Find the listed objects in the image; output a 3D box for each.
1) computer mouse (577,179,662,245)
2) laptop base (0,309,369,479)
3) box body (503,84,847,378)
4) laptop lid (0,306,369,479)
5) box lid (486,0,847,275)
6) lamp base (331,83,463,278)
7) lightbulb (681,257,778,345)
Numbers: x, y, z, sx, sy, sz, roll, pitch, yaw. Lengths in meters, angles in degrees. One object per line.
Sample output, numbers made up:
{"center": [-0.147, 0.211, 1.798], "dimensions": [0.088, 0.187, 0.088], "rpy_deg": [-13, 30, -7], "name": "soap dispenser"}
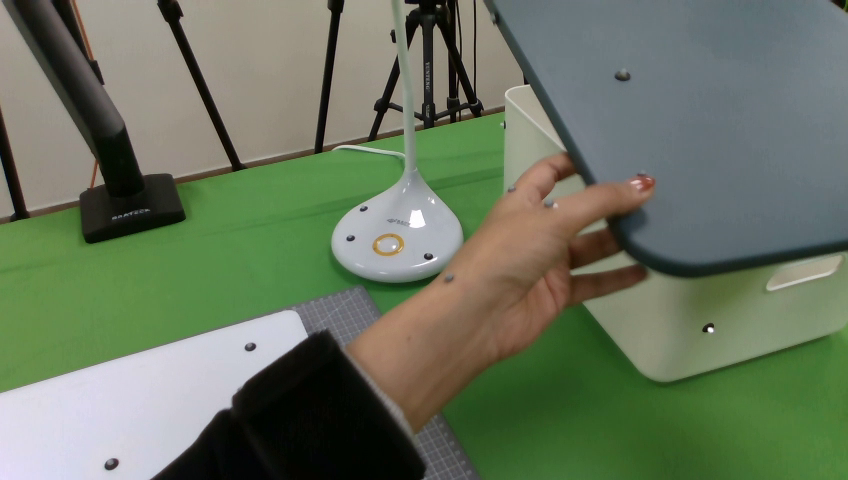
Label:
{"center": [0.243, -0.040, 0.755], "dimensions": [0.063, 0.041, 0.116], "rpy_deg": [-10, 42, -17], "name": "computer mouse"}
{"center": [-0.243, 0.182, 0.484], "dimensions": [0.355, 0.023, 0.232], "rpy_deg": [-15, 43, -20], "name": "laptop base"}
{"center": [0.264, -0.043, 0.667], "dimensions": [0.255, 0.162, 0.359], "rpy_deg": [-11, 38, -15], "name": "box body"}
{"center": [-0.242, 0.175, 0.475], "dimensions": [0.357, 0.013, 0.239], "rpy_deg": [-14, 41, -18], "name": "laptop lid"}
{"center": [0.201, -0.133, 0.434], "dimensions": [0.264, 0.015, 0.367], "rpy_deg": [-9, 49, -7], "name": "box lid"}
{"center": [-0.032, -0.076, 0.697], "dimensions": [0.160, 0.182, 0.178], "rpy_deg": [5, 35, 7], "name": "lamp base"}
{"center": [0.310, 0.063, 0.611], "dimensions": [0.059, 0.060, 0.107], "rpy_deg": [-29, 66, -33], "name": "lightbulb"}
